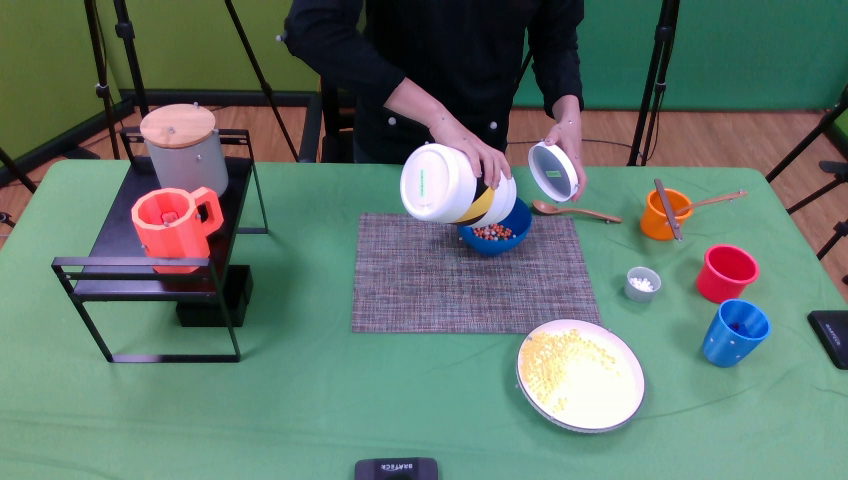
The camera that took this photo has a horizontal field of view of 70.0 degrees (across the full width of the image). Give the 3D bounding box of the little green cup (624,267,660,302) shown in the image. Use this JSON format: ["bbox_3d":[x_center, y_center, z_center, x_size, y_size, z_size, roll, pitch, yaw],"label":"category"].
[{"bbox_3d":[0.406,0.084,1.135,0.061,0.039,0.061,3,46,-3],"label":"little green cup"}]

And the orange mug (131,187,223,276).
[{"bbox_3d":[-0.354,-0.022,0.887,0.083,0.101,0.126,31,55,24],"label":"orange mug"}]

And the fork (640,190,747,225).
[{"bbox_3d":[0.533,-0.064,1.211,0.207,0.019,0.028,-22,28,38],"label":"fork"}]

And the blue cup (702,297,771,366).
[{"bbox_3d":[0.519,0.162,1.025,0.093,0.101,0.092,3,45,-3],"label":"blue cup"}]

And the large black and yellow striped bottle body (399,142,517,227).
[{"bbox_3d":[0.064,-0.091,1.050,0.185,0.131,0.130,5,36,-45],"label":"large black and yellow striped bottle body"}]

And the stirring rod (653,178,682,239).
[{"bbox_3d":[0.481,-0.065,1.204,0.014,0.006,0.175,1,46,0],"label":"stirring rod"}]

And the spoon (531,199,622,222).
[{"bbox_3d":[0.322,-0.060,1.279,0.194,0.022,0.041,8,32,4],"label":"spoon"}]

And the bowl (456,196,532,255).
[{"bbox_3d":[0.130,-0.025,1.186,0.151,0.077,0.150,2,45,-2],"label":"bowl"}]

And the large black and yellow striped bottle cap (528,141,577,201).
[{"bbox_3d":[0.229,-0.123,1.087,0.019,0.115,0.114,-32,55,-14],"label":"large black and yellow striped bottle cap"}]

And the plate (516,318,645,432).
[{"bbox_3d":[0.253,0.221,0.993,0.209,0.038,0.208,2,46,-2],"label":"plate"}]

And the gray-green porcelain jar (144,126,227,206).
[{"bbox_3d":[-0.375,-0.126,0.967,0.106,0.127,0.105,2,46,-2],"label":"gray-green porcelain jar"}]

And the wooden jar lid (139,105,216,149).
[{"bbox_3d":[-0.372,-0.169,0.920,0.108,0.021,0.107,4,44,-4],"label":"wooden jar lid"}]
